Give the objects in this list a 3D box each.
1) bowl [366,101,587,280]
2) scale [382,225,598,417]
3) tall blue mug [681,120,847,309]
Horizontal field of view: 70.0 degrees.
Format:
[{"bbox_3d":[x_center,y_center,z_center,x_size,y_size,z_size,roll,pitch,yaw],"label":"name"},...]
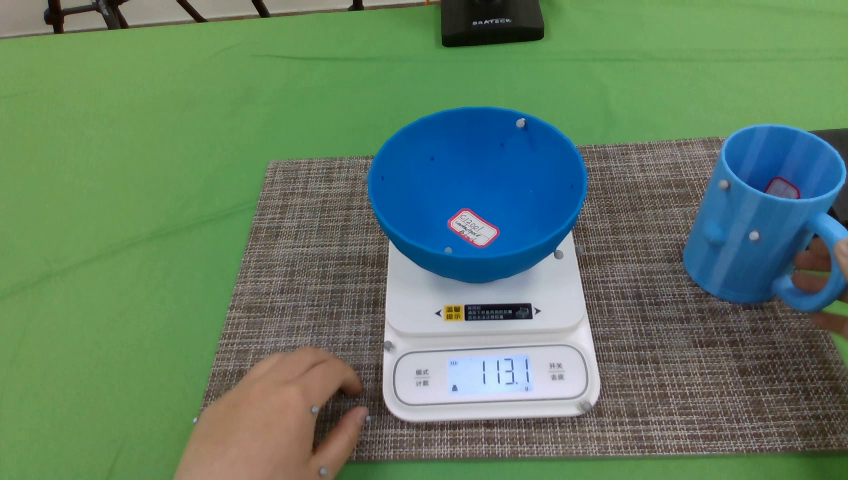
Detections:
[{"bbox_3d":[0.037,-0.024,0.440,0.151,0.077,0.150,-2,50,3],"label":"bowl"},{"bbox_3d":[0.045,0.034,0.461,0.148,0.032,0.199,-3,50,4],"label":"scale"},{"bbox_3d":[0.249,-0.012,0.428,0.106,0.109,0.077,30,58,28],"label":"tall blue mug"}]
